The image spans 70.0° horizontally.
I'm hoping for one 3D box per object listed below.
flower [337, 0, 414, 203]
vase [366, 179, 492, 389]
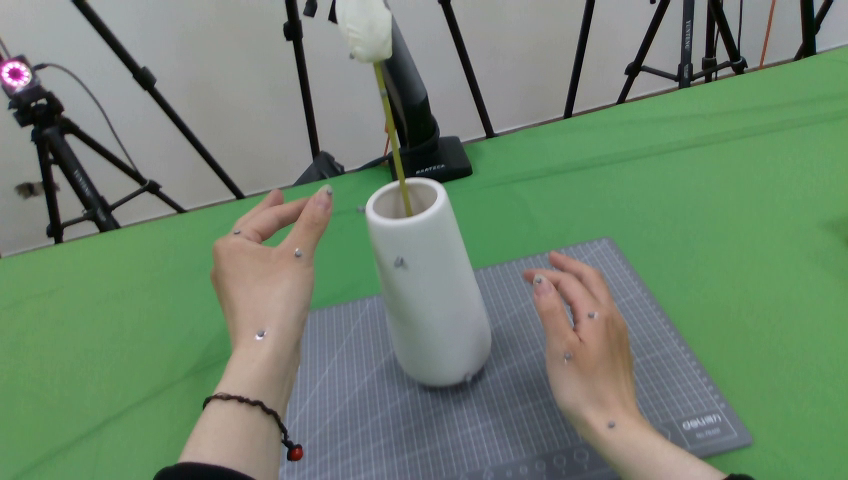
[{"bbox_3d":[-0.011,-0.030,0.523,0.038,0.363,0.043,-25,20,-32],"label":"flower"},{"bbox_3d":[0.004,0.044,0.558,0.098,0.202,0.097,-9,35,7],"label":"vase"}]
